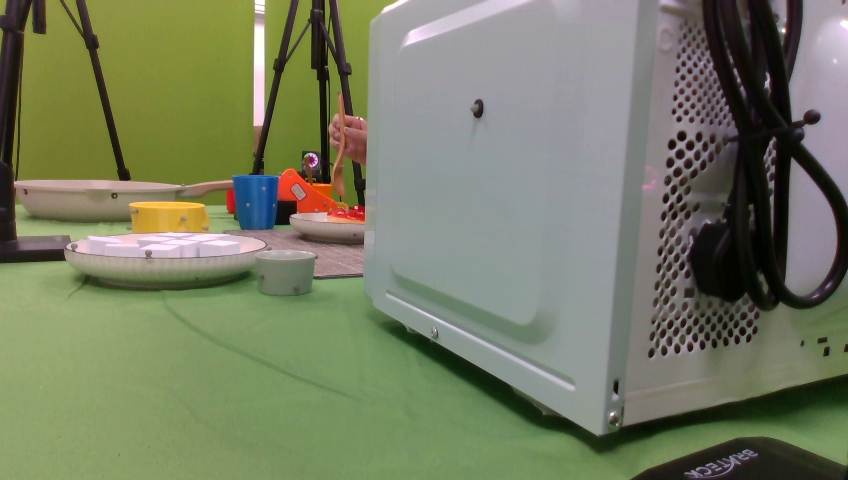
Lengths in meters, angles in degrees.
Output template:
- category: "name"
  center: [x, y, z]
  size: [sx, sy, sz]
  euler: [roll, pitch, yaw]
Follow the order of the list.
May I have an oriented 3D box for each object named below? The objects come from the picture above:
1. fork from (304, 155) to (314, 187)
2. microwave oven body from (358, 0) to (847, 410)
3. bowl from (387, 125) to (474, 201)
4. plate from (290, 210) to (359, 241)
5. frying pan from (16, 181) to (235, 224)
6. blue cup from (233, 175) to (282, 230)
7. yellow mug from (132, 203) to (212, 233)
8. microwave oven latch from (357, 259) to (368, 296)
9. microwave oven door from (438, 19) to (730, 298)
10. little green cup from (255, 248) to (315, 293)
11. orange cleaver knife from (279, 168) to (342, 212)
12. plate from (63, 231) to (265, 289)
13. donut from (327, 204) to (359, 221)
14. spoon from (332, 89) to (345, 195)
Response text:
- category: "fork"
  center: [-0.268, -0.134, 1.446]
  size: [0.028, 0.018, 0.207]
  euler: [1, -36, -1]
- category: "microwave oven body"
  center: [0.210, -0.051, 0.471]
  size: [0.444, 0.260, 0.324]
  euler: [-1, 7, -28]
- category: "bowl"
  center: [0.021, -0.116, 0.999]
  size: [0.151, 0.076, 0.151]
  euler: [-17, -16, -5]
- category: "plate"
  center: [-0.127, -0.026, 1.051]
  size: [0.209, 0.038, 0.209]
  euler: [2, 7, 0]
- category: "frying pan"
  center: [-0.554, -0.097, 1.266]
  size: [0.490, 0.102, 0.305]
  euler: [-10, 13, -24]
- category: "blue cup"
  center: [-0.314, -0.071, 1.141]
  size: [0.093, 0.100, 0.092]
  euler: [0, 7, 0]
- category: "yellow mug"
  center: [-0.356, -0.020, 0.878]
  size: [0.099, 0.064, 0.131]
  euler: [4, 7, 22]
- category: "microwave oven latch"
  center: [-0.019, 0.031, 0.528]
  size: [0.079, 0.029, 0.030]
  euler: [-1, 7, -25]
- category: "microwave oven door"
  center: [0.181, -0.076, 0.618]
  size: [0.358, 0.243, 0.039]
  euler: [-2, 8, -28]
- category: "little green cup"
  center: [-0.144, 0.031, 0.627]
  size: [0.061, 0.038, 0.061]
  euler: [2, 6, 0]
- category: "orange cleaver knife"
  center: [-0.237, -0.084, 1.332]
  size: [0.212, 0.077, 0.012]
  euler: [31, -9, -31]
- category: "plate"
  center: [-0.288, 0.021, 0.687]
  size: [0.208, 0.039, 0.207]
  euler: [2, 8, 0]
- category: "donut"
  center: [-0.120, -0.037, 1.056]
  size: [0.099, 0.048, 0.099]
  euler: [5, 6, 0]
- category: "spoon"
  center: [-0.148, -0.175, 1.071]
  size: [0.021, 0.193, 0.042]
  euler: [-1, -9, 20]
